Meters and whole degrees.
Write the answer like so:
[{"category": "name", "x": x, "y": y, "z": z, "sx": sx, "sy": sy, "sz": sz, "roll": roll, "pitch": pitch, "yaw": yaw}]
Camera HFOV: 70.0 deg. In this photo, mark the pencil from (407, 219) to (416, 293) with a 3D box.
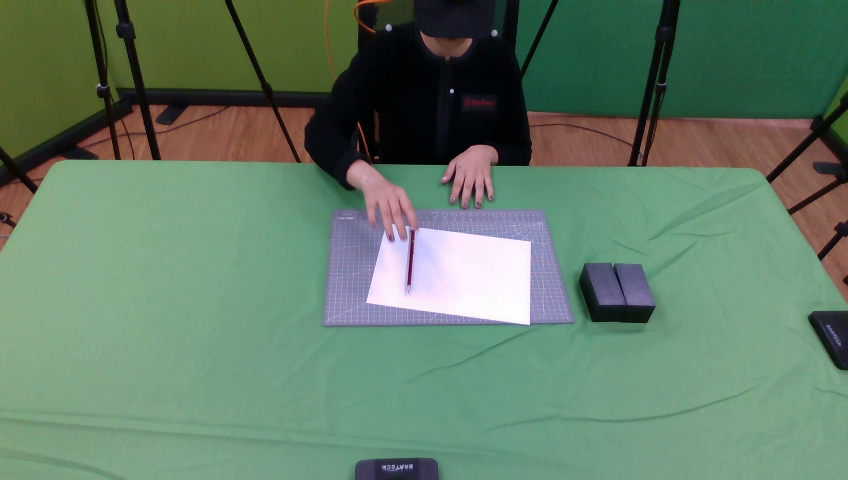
[{"category": "pencil", "x": -0.025, "y": 0.028, "z": 1.172, "sx": 0.012, "sy": 0.012, "sz": 0.193, "roll": 3, "pitch": 46, "yaw": 0}]
